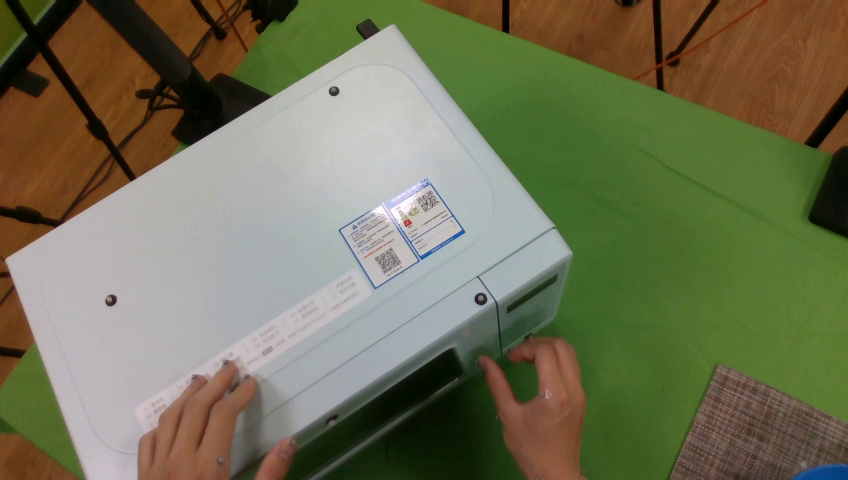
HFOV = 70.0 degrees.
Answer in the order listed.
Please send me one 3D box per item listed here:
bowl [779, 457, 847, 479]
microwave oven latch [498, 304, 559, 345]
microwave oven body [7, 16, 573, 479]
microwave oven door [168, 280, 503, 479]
[{"bbox_3d":[0.398,0.289,0.586,0.151,0.077,0.150,-3,69,7],"label":"bowl"},{"bbox_3d":[0.118,0.090,0.705,0.079,0.030,0.030,-32,69,-3],"label":"microwave oven latch"},{"bbox_3d":[-0.122,0.039,0.653,0.442,0.262,0.323,-33,69,-4],"label":"microwave oven body"},{"bbox_3d":[-0.080,0.172,0.594,0.356,0.245,0.039,-33,68,-5],"label":"microwave oven door"}]
